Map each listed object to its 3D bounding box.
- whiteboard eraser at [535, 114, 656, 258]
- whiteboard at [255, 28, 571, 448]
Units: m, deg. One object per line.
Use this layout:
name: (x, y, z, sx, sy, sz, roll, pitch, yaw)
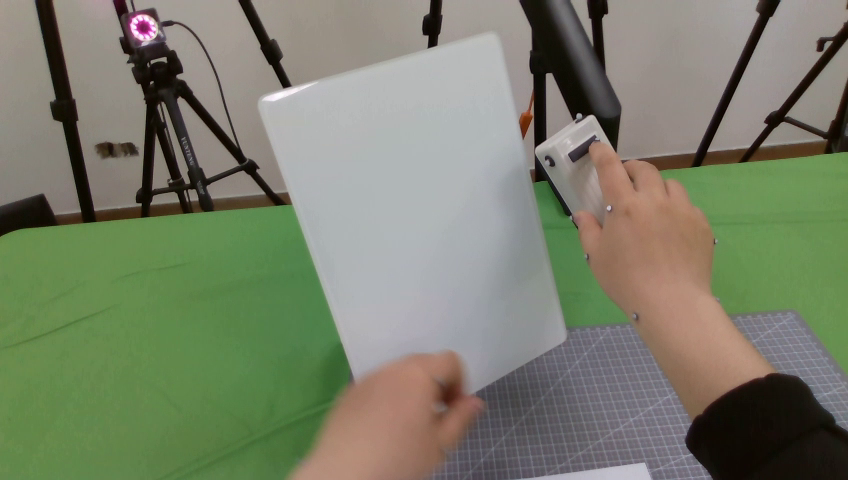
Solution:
whiteboard eraser: (0.143, -0.045, 0.509, 0.055, 0.113, 0.041, -35, 9, -11)
whiteboard: (-0.017, -0.011, 0.574, 0.217, 0.307, 0.143, -23, 17, -22)
